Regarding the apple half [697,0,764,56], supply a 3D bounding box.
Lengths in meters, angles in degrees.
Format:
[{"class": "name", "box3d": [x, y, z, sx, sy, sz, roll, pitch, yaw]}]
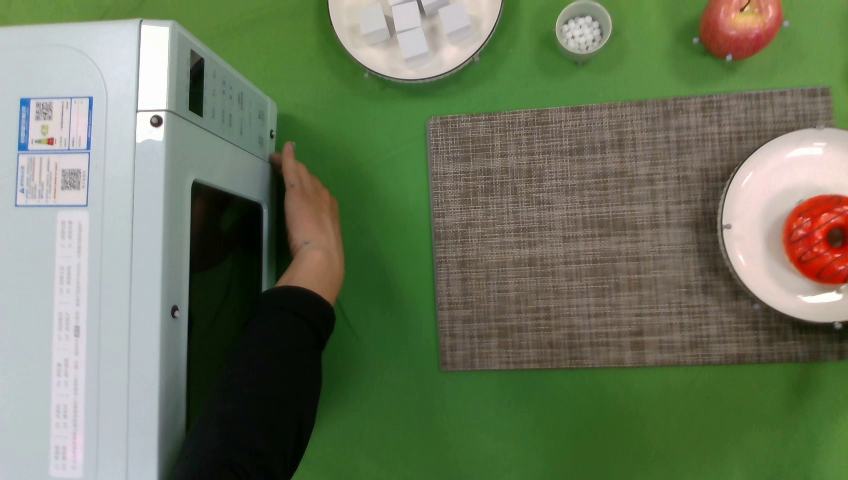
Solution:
[{"class": "apple half", "box3d": [0.325, -0.238, 0.656, 0.053, 0.075, 0.080, -11, 89, 11]}]

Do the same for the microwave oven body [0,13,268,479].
[{"class": "microwave oven body", "box3d": [-0.352, 0.035, 0.627, 0.326, 0.261, 0.441, 0, 88, 7]}]

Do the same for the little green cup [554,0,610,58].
[{"class": "little green cup", "box3d": [0.178, -0.239, 0.691, 0.061, 0.039, 0.061, 0, 87, 7]}]

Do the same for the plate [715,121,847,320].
[{"class": "plate", "box3d": [0.416, -0.021, 0.647, 0.209, 0.038, 0.208, 0, 87, 7]}]

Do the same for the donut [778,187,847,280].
[{"class": "donut", "box3d": [0.424, -0.007, 0.634, 0.099, 0.048, 0.099, 0, 88, 9]}]

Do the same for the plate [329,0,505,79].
[{"class": "plate", "box3d": [-0.008, -0.289, 0.716, 0.207, 0.039, 0.207, 0, 87, 7]}]

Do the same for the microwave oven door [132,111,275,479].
[{"class": "microwave oven door", "box3d": [-0.208, 0.077, 0.602, 0.039, 0.244, 0.355, -1, 87, 7]}]

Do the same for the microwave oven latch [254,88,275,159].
[{"class": "microwave oven latch", "box3d": [-0.193, -0.137, 0.713, 0.030, 0.029, 0.079, 4, 88, 7]}]

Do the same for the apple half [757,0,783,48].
[{"class": "apple half", "box3d": [0.363, -0.247, 0.650, 0.033, 0.081, 0.081, -12, 85, 12]}]
